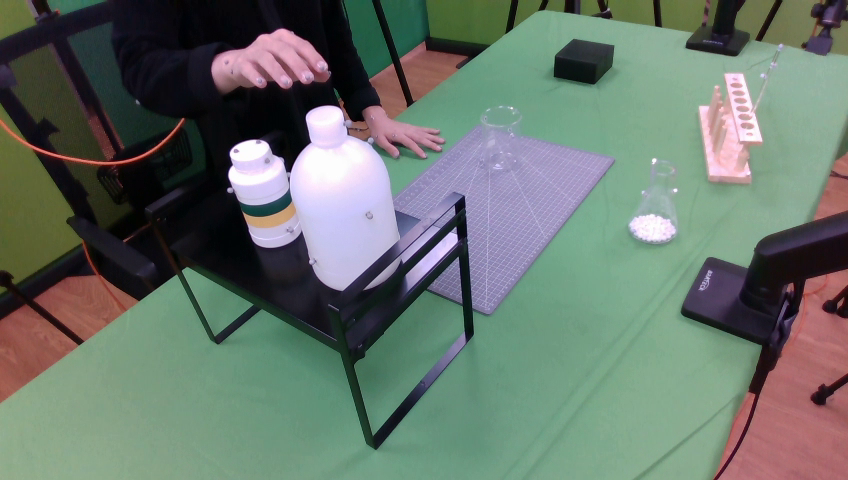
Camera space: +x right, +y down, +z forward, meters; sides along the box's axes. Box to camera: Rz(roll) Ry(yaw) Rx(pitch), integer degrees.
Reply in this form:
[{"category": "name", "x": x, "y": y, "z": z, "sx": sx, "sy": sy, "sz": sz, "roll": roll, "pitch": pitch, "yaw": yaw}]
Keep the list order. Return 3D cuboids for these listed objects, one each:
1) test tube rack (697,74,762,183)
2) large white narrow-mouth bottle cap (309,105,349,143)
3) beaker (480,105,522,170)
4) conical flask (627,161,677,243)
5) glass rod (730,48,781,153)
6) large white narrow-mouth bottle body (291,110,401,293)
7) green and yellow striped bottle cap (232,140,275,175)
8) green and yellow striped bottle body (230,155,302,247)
[{"category": "test tube rack", "x": 0.547, "y": -0.208, "z": 1.095, "sx": 0.066, "sy": 0.085, "sz": 0.242, "roll": 5, "pitch": 42, "yaw": 15}, {"category": "large white narrow-mouth bottle cap", "x": -0.091, "y": -0.110, "z": 0.576, "sx": 0.038, "sy": 0.024, "sz": 0.037, "roll": -4, "pitch": 39, "yaw": 3}, {"category": "beaker", "x": 0.145, "y": -0.187, "z": 1.111, "sx": 0.084, "sy": 0.101, "sz": 0.073, "roll": -35, "pitch": 48, "yaw": -29}, {"category": "conical flask", "x": 0.355, "y": -0.061, "z": 0.921, "sx": 0.075, "sy": 0.122, "sz": 0.075, "roll": -4, "pitch": 41, "yaw": 4}, {"category": "glass rod", "x": 0.554, "y": -0.228, "z": 1.015, "sx": 0.008, "sy": 0.200, "sz": 0.008, "roll": 1, "pitch": 44, "yaw": -1}, {"category": "large white narrow-mouth bottle body", "x": -0.083, "y": -0.043, "z": 0.630, "sx": 0.102, "sy": 0.195, "sz": 0.101, "roll": -4, "pitch": 39, "yaw": 4}, {"category": "green and yellow striped bottle cap", "x": -0.192, "y": -0.093, "z": 0.680, "sx": 0.045, "sy": 0.020, "sz": 0.045, "roll": -5, "pitch": 39, "yaw": 4}, {"category": "green and yellow striped bottle body", "x": -0.188, "y": -0.055, "z": 0.714, "sx": 0.063, "sy": 0.120, "sz": 0.063, "roll": -4, "pitch": 41, "yaw": 4}]
